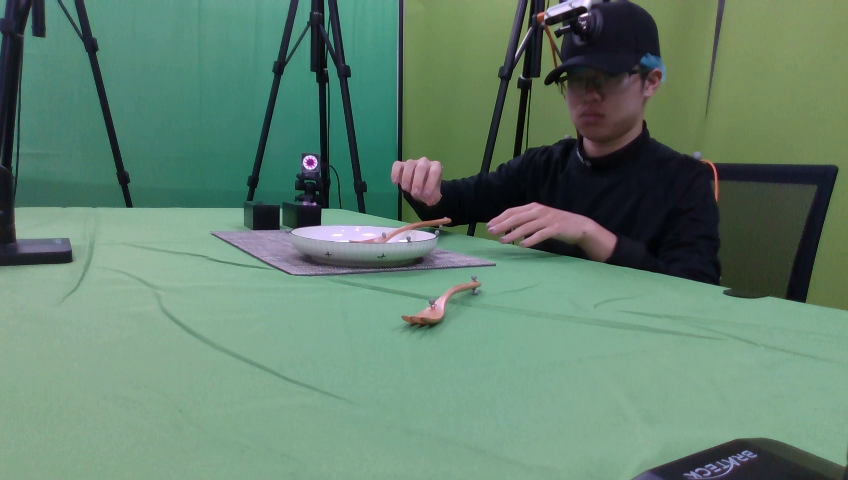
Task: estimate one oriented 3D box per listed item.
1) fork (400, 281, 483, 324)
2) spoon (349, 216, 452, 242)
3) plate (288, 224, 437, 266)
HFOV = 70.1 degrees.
[{"bbox_3d":[0.025,0.057,0.590,0.028,0.018,0.208,-2,7,21],"label":"fork"},{"bbox_3d":[-0.030,-0.016,0.924,0.195,0.021,0.041,-19,17,-36],"label":"spoon"},{"bbox_3d":[-0.086,0.007,0.852,0.208,0.039,0.207,2,7,0],"label":"plate"}]
